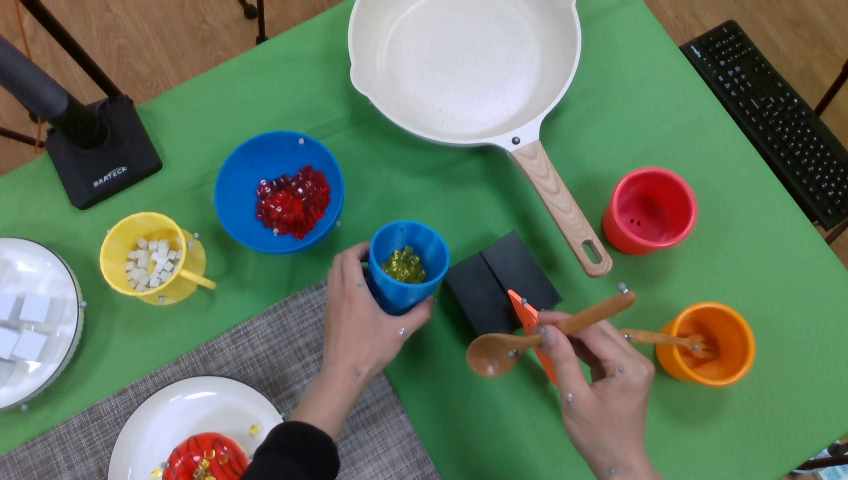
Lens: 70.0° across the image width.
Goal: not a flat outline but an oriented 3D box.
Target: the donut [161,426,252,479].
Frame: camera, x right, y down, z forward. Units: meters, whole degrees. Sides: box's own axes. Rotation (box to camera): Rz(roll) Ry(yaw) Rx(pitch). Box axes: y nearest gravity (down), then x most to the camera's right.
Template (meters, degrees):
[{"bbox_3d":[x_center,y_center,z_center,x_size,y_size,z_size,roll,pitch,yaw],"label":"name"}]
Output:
[{"bbox_3d":[-0.239,0.256,0.667,0.099,0.048,0.098,0,80,0],"label":"donut"}]

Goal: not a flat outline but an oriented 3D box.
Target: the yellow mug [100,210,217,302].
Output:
[{"bbox_3d":[-0.308,0.026,0.725,0.130,0.064,0.099,23,77,5],"label":"yellow mug"}]

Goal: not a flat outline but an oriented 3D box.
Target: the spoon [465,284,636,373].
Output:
[{"bbox_3d":[0.098,0.076,0.502,0.021,0.194,0.041,-37,91,-39],"label":"spoon"}]

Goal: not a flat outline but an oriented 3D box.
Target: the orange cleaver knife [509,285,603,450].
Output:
[{"bbox_3d":[0.148,0.144,0.684,0.012,0.076,0.212,-30,106,-6],"label":"orange cleaver knife"}]

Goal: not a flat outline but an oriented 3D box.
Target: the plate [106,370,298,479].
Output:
[{"bbox_3d":[-0.244,0.252,0.679,0.209,0.038,0.208,0,76,0],"label":"plate"}]

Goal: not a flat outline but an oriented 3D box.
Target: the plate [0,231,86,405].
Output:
[{"bbox_3d":[-0.505,0.093,0.725,0.208,0.039,0.206,0,76,1],"label":"plate"}]

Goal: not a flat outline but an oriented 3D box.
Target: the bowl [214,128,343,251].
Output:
[{"bbox_3d":[-0.168,-0.052,0.737,0.151,0.077,0.150,0,76,0],"label":"bowl"}]

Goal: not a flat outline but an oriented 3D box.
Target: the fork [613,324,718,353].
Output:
[{"bbox_3d":[0.268,0.105,0.658,0.209,0.018,0.028,13,72,-41],"label":"fork"}]

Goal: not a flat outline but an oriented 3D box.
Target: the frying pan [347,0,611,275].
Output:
[{"bbox_3d":[0.092,-0.166,0.749,0.307,0.103,0.484,-24,69,-4],"label":"frying pan"}]

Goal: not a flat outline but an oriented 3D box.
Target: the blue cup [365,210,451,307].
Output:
[{"bbox_3d":[-0.026,0.029,0.661,0.093,0.100,0.092,7,62,-13],"label":"blue cup"}]
